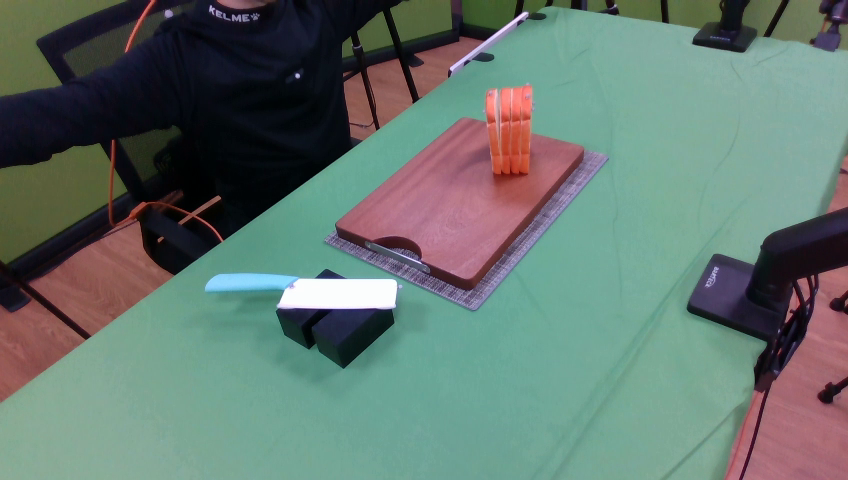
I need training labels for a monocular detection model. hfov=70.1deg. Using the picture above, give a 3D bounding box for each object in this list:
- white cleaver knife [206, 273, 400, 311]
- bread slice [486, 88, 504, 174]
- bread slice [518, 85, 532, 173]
[{"bbox_3d":[-0.173,0.071,0.846,0.286,0.021,0.065,0,39,11],"label":"white cleaver knife"},{"bbox_3d":[0.124,-0.197,1.053,0.019,0.132,0.104,-4,39,12],"label":"bread slice"},{"bbox_3d":[0.175,-0.196,1.044,0.018,0.135,0.106,3,44,7],"label":"bread slice"}]
